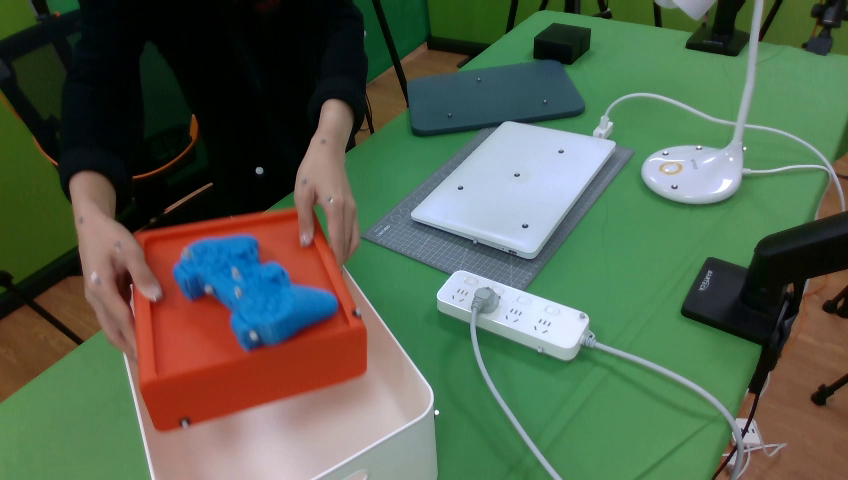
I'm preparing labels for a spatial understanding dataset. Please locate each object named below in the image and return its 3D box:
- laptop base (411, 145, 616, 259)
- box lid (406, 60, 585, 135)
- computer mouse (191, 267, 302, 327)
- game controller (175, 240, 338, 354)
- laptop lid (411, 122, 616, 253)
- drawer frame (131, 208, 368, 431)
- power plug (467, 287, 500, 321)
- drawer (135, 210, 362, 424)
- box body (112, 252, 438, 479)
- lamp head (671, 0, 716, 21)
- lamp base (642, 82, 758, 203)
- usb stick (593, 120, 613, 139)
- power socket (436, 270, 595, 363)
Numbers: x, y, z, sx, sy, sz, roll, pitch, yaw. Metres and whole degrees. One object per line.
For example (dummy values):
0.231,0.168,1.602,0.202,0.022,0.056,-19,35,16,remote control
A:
0.168,-0.101,1.073,0.234,0.023,0.355,17,46,30,laptop base
0.150,-0.320,1.340,0.372,0.015,0.261,-8,40,0,box lid
-0.195,0.059,0.667,0.118,0.041,0.062,-3,35,-16,computer mouse
-0.166,0.043,0.581,0.154,0.052,0.097,31,48,30,game controller
0.165,-0.111,1.067,0.240,0.013,0.357,19,46,31,laptop lid
-0.185,0.067,0.631,0.203,0.083,0.211,-11,41,-21,drawer frame
0.072,0.092,0.814,0.035,0.053,0.073,30,55,34,power plug
-0.187,0.068,0.633,0.195,0.073,0.210,-10,41,-21,drawer
-0.170,0.168,0.693,0.255,0.161,0.360,-24,43,-19,box body
0.375,-0.373,0.807,0.122,0.113,0.112,-40,27,32,lamp head
0.464,-0.174,0.992,0.179,0.181,0.159,-5,41,-1,lamp base
0.336,-0.201,1.146,0.021,0.027,0.059,25,52,27,usb stick
0.118,0.101,0.832,0.225,0.033,0.072,19,48,27,power socket
